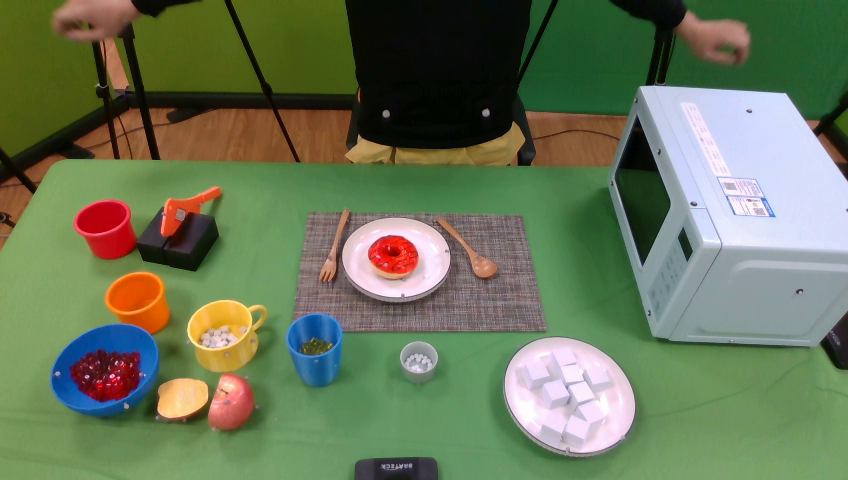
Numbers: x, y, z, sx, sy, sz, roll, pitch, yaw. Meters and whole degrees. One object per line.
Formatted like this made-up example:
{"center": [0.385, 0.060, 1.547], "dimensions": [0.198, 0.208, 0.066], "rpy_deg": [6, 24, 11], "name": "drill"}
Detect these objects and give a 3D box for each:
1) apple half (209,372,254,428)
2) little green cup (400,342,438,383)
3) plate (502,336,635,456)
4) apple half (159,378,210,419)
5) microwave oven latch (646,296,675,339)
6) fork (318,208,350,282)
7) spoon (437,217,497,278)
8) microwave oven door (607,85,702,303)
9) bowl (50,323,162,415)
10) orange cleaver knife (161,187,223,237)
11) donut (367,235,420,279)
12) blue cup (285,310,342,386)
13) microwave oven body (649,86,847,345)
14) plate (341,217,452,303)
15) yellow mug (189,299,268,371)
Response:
{"center": [-0.282, 0.243, 0.908], "dimensions": [0.053, 0.075, 0.080], "rpy_deg": [8, 42, -2], "name": "apple half"}
{"center": [-0.010, 0.202, 0.991], "dimensions": [0.061, 0.039, 0.061], "rpy_deg": [2, 47, -2], "name": "little green cup"}
{"center": [0.225, 0.248, 0.963], "dimensions": [0.208, 0.039, 0.206], "rpy_deg": [2, 46, -2], "name": "plate"}
{"center": [-0.366, 0.247, 0.926], "dimensions": [0.081, 0.033, 0.081], "rpy_deg": [8, 31, -5], "name": "apple half"}
{"center": [0.412, 0.134, 1.061], "dimensions": [0.030, 0.029, 0.078], "rpy_deg": [4, 45, 1], "name": "microwave oven latch"}
{"center": [-0.170, 0.005, 1.177], "dimensions": [0.028, 0.019, 0.206], "rpy_deg": [1, 47, 9], "name": "fork"}
{"center": [0.080, 0.010, 1.188], "dimensions": [0.041, 0.022, 0.192], "rpy_deg": [-34, 55, -7], "name": "spoon"}
{"center": [0.423, -0.094, 1.141], "dimensions": [0.039, 0.245, 0.353], "rpy_deg": [2, 46, -1], "name": "microwave oven door"}
{"center": [-0.472, 0.209, 0.924], "dimensions": [0.151, 0.077, 0.150], "rpy_deg": [3, 45, -2], "name": "bowl"}
{"center": [-0.448, -0.058, 1.181], "dimensions": [0.012, 0.077, 0.211], "rpy_deg": [13, 17, 6], "name": "orange cleaver knife"}
{"center": [-0.056, 0.032, 1.131], "dimensions": [0.099, 0.048, 0.098], "rpy_deg": [3, 45, -3], "name": "donut"}
{"center": [-0.170, 0.179, 0.958], "dimensions": [0.093, 0.101, 0.092], "rpy_deg": [2, 44, -1], "name": "blue cup"}
{"center": [0.568, -0.053, 1.118], "dimensions": [0.326, 0.261, 0.439], "rpy_deg": [2, 45, -1], "name": "microwave oven body"}
{"center": [-0.052, 0.039, 1.140], "dimensions": [0.209, 0.038, 0.208], "rpy_deg": [2, 46, -2], "name": "plate"}
{"center": [-0.316, 0.148, 1.002], "dimensions": [0.131, 0.064, 0.099], "rpy_deg": [-33, 56, -31], "name": "yellow mug"}
